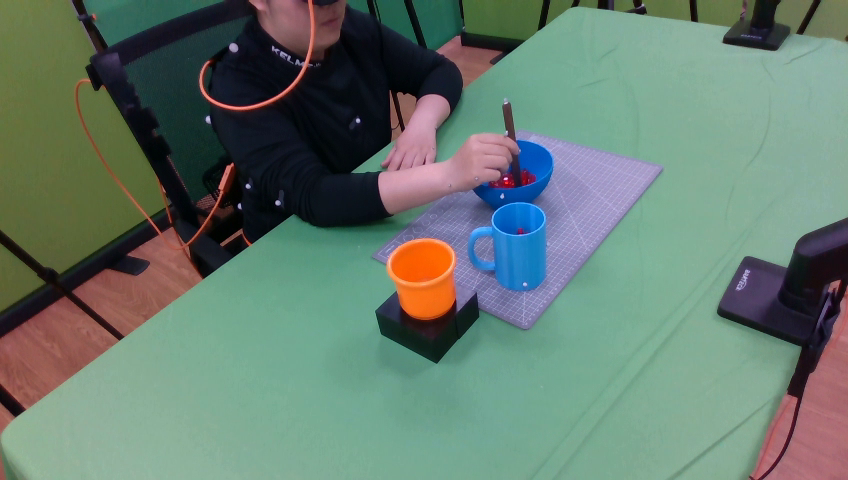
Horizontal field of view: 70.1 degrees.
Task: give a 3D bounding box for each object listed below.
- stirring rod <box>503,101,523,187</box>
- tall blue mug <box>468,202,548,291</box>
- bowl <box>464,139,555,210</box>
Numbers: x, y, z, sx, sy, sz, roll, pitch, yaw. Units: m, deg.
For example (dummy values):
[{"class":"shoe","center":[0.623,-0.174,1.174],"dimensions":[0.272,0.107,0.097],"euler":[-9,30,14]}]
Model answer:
[{"class":"stirring rod","center":[0.142,-0.139,0.955],"dimensions":[0.014,0.177,0.005],"euler":[-25,38,-12]},{"class":"tall blue mug","center":[0.125,0.015,0.869],"dimensions":[0.107,0.108,0.077],"euler":[-21,42,-14]},{"class":"bowl","center":[0.145,-0.100,1.025],"dimensions":[0.151,0.077,0.150],"euler":[-5,40,5]}]
